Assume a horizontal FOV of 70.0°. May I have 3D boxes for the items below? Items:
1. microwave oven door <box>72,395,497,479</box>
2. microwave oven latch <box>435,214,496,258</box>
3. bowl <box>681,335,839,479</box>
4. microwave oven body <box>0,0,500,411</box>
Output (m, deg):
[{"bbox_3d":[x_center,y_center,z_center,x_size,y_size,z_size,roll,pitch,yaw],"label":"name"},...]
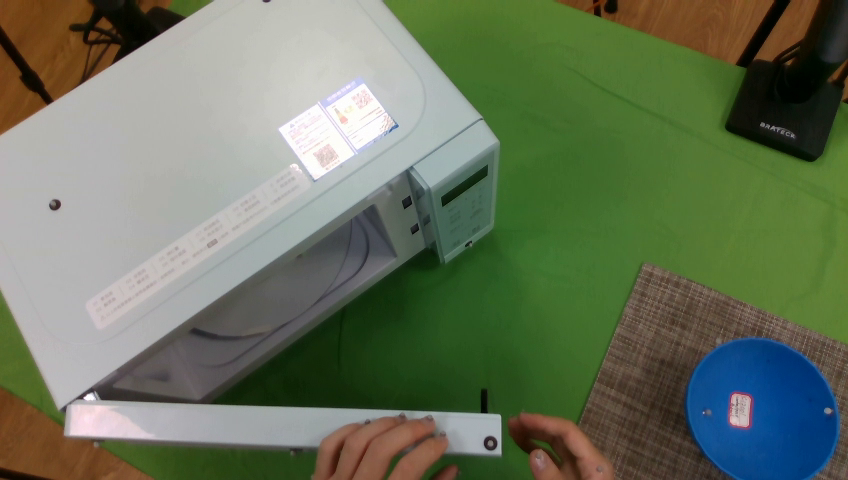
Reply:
[{"bbox_3d":[-0.111,0.243,0.549,0.355,0.246,0.039,2,33,8],"label":"microwave oven door"},{"bbox_3d":[0.051,-0.012,0.742,0.079,0.030,0.030,-34,73,-6],"label":"microwave oven latch"},{"bbox_3d":[0.345,0.182,0.650,0.151,0.077,0.150,-1,72,4],"label":"bowl"},{"bbox_3d":[-0.187,-0.052,0.672,0.441,0.262,0.324,-36,73,-6],"label":"microwave oven body"}]
